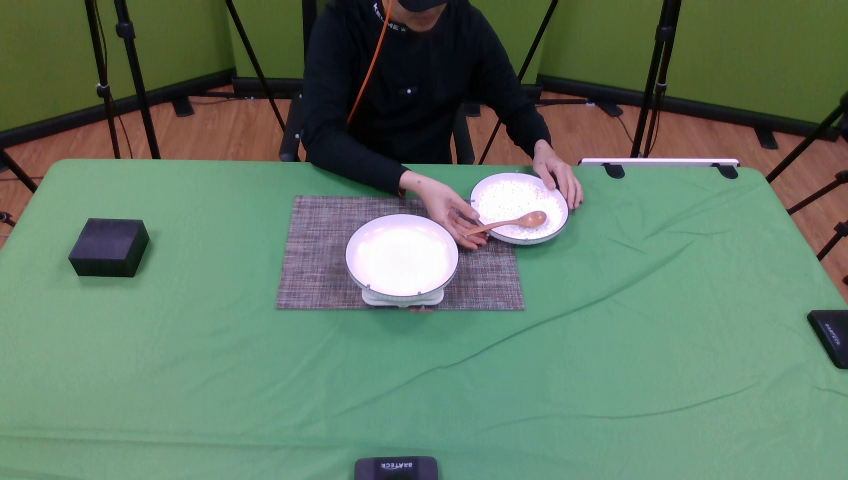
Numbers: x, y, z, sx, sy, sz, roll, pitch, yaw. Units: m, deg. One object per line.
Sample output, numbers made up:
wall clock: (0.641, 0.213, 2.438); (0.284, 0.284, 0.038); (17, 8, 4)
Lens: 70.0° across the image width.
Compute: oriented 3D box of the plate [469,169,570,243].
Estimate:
plate: (0.196, -0.066, 1.258); (0.209, 0.038, 0.208); (2, 46, -2)

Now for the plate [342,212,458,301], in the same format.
plate: (-0.043, 0.033, 1.105); (0.208, 0.039, 0.206); (2, 46, -2)

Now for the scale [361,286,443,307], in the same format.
scale: (-0.042, 0.040, 1.143); (0.149, 0.032, 0.199); (0, 46, -4)

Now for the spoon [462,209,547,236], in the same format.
spoon: (0.160, -0.034, 1.202); (0.194, 0.022, 0.041); (-10, 47, -24)
